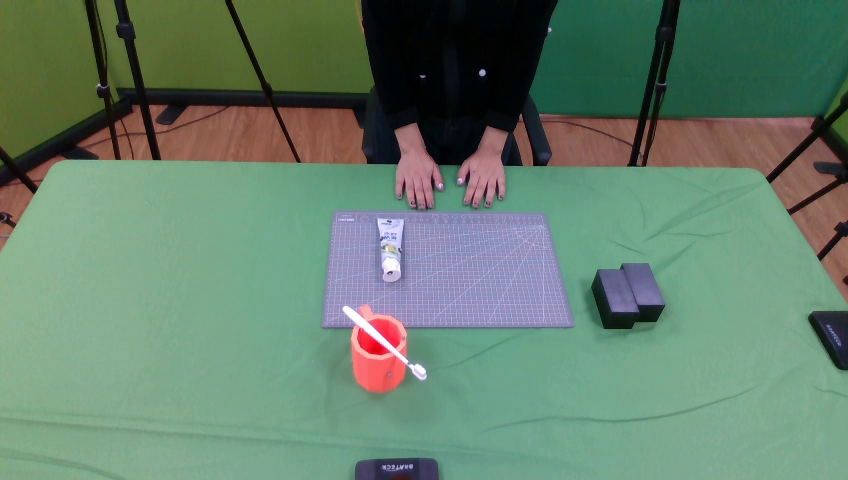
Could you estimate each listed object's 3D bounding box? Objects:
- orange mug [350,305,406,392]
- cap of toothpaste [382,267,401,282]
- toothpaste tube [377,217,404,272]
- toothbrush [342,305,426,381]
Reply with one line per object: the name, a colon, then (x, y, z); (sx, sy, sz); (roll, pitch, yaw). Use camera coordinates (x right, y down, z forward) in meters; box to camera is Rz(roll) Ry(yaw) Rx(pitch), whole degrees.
orange mug: (-0.080, 0.168, 0.978); (0.083, 0.101, 0.125); (-16, 54, -18)
cap of toothpaste: (-0.060, 0.063, 1.119); (0.037, 0.037, 0.011); (-9, 50, -12)
toothpaste tube: (-0.063, 0.008, 1.179); (0.055, 0.034, 0.164); (5, 42, -9)
toothbrush: (-0.064, 0.153, 0.922); (0.181, 0.017, 0.014); (36, 56, 27)
